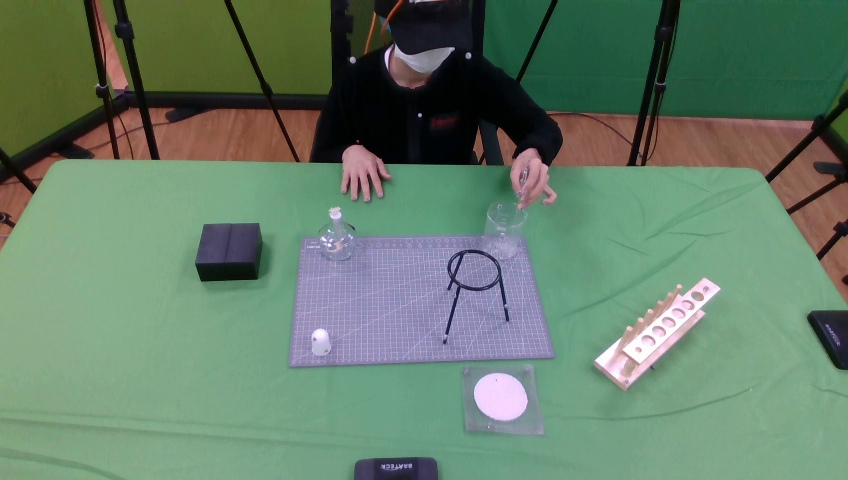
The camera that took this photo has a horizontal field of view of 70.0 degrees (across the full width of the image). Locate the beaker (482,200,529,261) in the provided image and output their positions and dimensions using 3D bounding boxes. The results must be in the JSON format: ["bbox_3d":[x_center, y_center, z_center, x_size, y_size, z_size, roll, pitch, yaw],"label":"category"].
[{"bbox_3d":[0.153,-0.015,1.169,0.084,0.101,0.073,-2,46,-7],"label":"beaker"}]

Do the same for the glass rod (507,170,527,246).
[{"bbox_3d":[0.172,-0.055,1.130,0.008,0.201,0.008,2,49,-2],"label":"glass rod"}]

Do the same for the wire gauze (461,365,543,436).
[{"bbox_3d":[0.124,0.254,0.973,0.125,0.011,0.120,3,47,-3],"label":"wire gauze"}]

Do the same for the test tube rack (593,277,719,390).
[{"bbox_3d":[0.401,0.148,1.043,0.242,0.085,0.066,-30,55,-29],"label":"test tube rack"}]

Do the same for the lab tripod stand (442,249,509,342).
[{"bbox_3d":[0.082,0.090,1.036,0.148,0.132,0.147,3,44,-3],"label":"lab tripod stand"}]

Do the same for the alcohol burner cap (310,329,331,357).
[{"bbox_3d":[-0.173,0.168,1.004,0.034,0.048,0.033,2,46,-2],"label":"alcohol burner cap"}]

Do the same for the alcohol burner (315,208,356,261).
[{"bbox_3d":[-0.166,-0.017,1.134,0.078,0.119,0.077,2,48,-2],"label":"alcohol burner"}]
